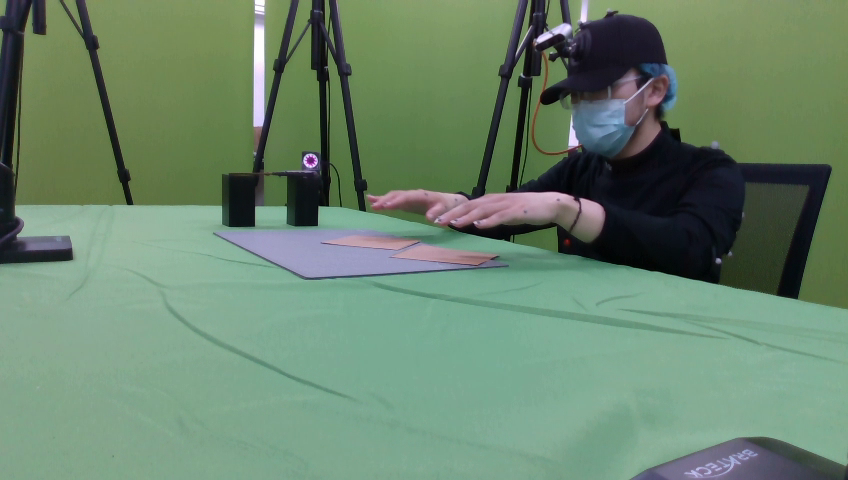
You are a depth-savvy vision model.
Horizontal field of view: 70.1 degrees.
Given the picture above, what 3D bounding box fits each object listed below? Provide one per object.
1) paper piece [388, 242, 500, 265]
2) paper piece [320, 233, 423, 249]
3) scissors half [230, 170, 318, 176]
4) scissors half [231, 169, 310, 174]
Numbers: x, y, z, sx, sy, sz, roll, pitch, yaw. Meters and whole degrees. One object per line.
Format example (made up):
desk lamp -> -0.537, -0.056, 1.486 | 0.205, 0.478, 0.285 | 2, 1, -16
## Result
paper piece -> 0.035, 0.020, 0.906 | 0.138, 0.008, 0.136 | 7, 11, 21
paper piece -> -0.084, -0.001, 1.017 | 0.135, 0.004, 0.136 | 4, 9, 17
scissors half -> -0.297, -0.133, 1.209 | 0.176, 0.013, 0.040 | -3, 10, -24
scissors half -> -0.309, -0.137, 1.226 | 0.176, 0.013, 0.040 | -7, 17, -41
